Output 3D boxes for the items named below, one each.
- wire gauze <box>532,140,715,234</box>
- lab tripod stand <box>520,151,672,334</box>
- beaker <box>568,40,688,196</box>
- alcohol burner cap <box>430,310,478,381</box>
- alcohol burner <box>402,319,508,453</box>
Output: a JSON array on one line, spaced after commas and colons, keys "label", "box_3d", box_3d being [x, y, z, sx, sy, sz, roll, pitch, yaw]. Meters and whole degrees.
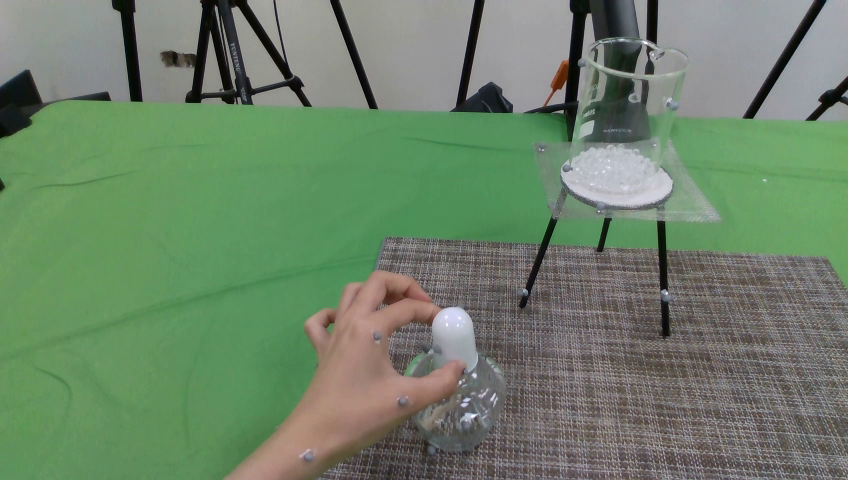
[{"label": "wire gauze", "box_3d": [0.155, -0.048, 0.489, 0.125, 0.011, 0.120, 3, 40, -1]}, {"label": "lab tripod stand", "box_3d": [0.162, 0.001, 0.533, 0.148, 0.132, 0.147, 0, 37, 0]}, {"label": "beaker", "box_3d": [0.153, -0.093, 0.466, 0.073, 0.101, 0.084, 27, 46, 30]}, {"label": "alcohol burner cap", "box_3d": [0.019, 0.068, 0.410, 0.034, 0.048, 0.033, -4, 36, 3]}, {"label": "alcohol burner", "box_3d": [0.022, 0.096, 0.431, 0.078, 0.120, 0.077, 0, 39, 0]}]
